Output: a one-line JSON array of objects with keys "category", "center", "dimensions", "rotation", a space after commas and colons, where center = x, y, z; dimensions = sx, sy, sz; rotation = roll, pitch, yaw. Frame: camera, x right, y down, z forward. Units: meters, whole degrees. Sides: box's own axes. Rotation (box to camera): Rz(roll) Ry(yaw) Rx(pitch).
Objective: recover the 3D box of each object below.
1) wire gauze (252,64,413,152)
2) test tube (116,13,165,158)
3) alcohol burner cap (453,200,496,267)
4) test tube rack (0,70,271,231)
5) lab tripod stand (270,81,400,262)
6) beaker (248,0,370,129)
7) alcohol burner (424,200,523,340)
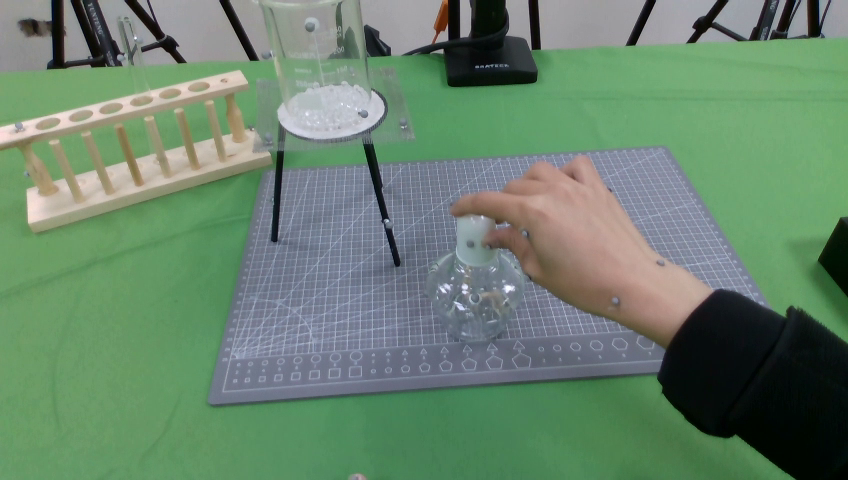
[{"category": "wire gauze", "center": [-0.078, -0.109, 0.497], "dimensions": [0.125, 0.011, 0.120], "rotation": [-9, 41, -4]}, {"category": "test tube", "center": [-0.286, -0.151, 0.614], "dimensions": [0.017, 0.151, 0.017], "rotation": [2, 36, -1]}, {"category": "alcohol burner cap", "center": [0.036, -0.007, 0.438], "dimensions": [0.034, 0.048, 0.033], "rotation": [-3, 45, 3]}, {"category": "test tube rack", "center": [-0.293, -0.097, 0.629], "dimensions": [0.243, 0.086, 0.066], "rotation": [-20, 45, -19]}, {"category": "lab tripod stand", "center": [-0.076, -0.061, 0.541], "dimensions": [0.148, 0.133, 0.147], "rotation": [-1, 44, 2]}, {"category": "beaker", "center": [-0.083, -0.143, 0.462], "dimensions": [0.084, 0.101, 0.073], "rotation": [-2, 42, 2]}, {"category": "alcohol burner", "center": [0.039, 0.020, 0.464], "dimensions": [0.078, 0.120, 0.077], "rotation": [-1, 40, 1]}]
